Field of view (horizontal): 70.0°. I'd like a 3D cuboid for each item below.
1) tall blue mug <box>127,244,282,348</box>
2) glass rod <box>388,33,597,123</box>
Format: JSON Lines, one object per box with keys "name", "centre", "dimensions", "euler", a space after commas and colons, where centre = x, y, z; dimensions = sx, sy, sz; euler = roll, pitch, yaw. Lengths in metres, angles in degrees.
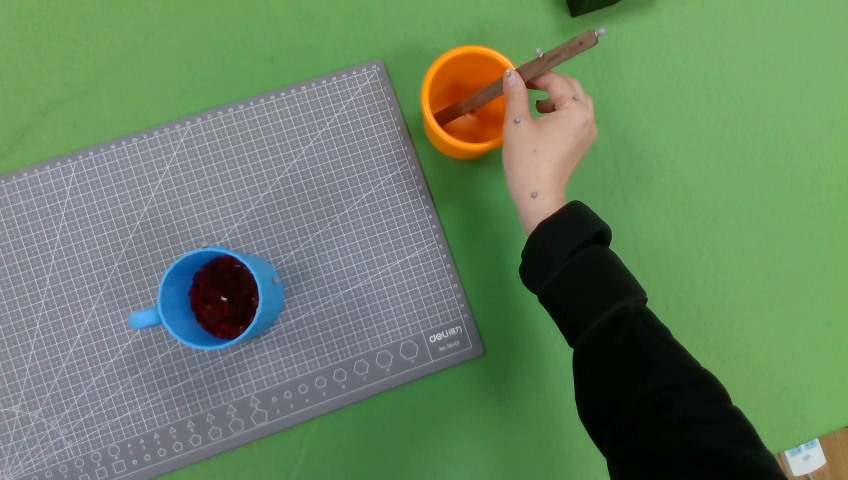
{"name": "tall blue mug", "centre": [-0.176, 0.056, 0.502], "dimensions": [0.107, 0.108, 0.078], "euler": [-43, 91, -7]}
{"name": "glass rod", "centre": [0.052, -0.137, 0.523], "dimensions": [0.199, 0.008, 0.008], "euler": [-16, 87, 29]}
